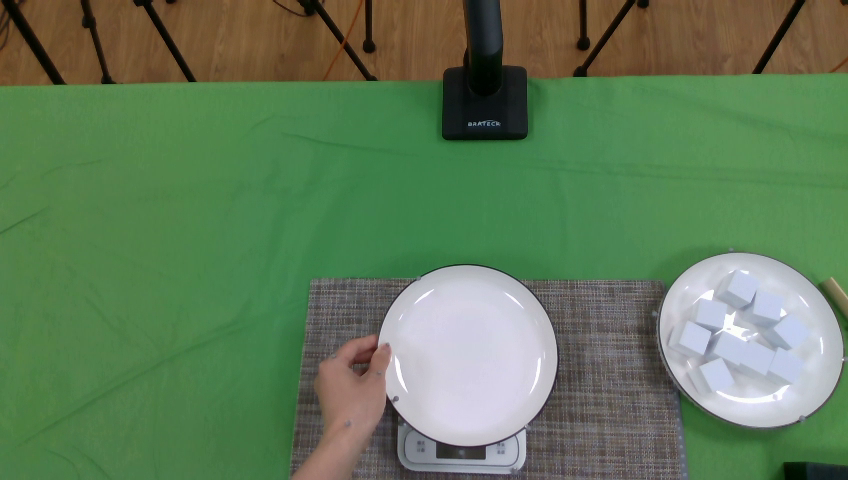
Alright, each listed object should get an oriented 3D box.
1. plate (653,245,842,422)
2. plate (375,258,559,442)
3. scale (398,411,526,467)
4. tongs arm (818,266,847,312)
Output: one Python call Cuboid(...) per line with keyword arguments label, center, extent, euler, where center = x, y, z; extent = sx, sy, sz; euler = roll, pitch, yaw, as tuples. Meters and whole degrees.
Cuboid(label="plate", center=(0.374, 0.109, 0.716), extent=(0.207, 0.039, 0.206), euler=(-1, 71, 4))
Cuboid(label="plate", center=(0.049, 0.124, 0.700), extent=(0.209, 0.038, 0.207), euler=(-1, 71, 4))
Cuboid(label="scale", center=(0.045, 0.163, 0.722), extent=(0.148, 0.032, 0.199), euler=(0, 71, 5))
Cuboid(label="tongs arm", center=(0.581, 0.189, 0.676), extent=(0.028, 0.028, 0.384), euler=(-28, 71, -8))
